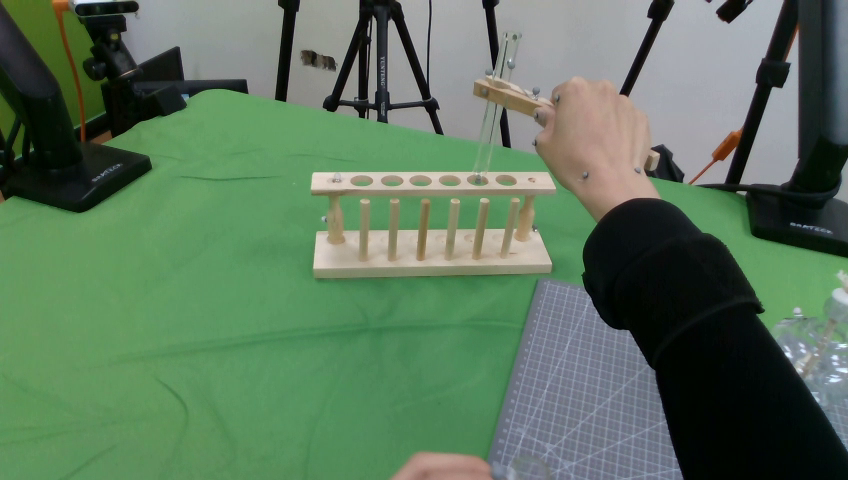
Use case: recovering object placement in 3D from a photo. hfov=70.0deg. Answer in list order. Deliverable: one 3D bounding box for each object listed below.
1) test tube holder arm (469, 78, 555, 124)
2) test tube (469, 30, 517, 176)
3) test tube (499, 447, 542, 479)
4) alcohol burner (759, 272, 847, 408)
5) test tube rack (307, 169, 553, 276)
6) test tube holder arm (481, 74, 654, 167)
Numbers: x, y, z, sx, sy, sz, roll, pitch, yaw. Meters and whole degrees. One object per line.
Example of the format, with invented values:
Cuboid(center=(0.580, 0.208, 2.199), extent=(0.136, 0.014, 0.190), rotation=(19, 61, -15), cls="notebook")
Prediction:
Cuboid(center=(0.076, -0.120, 0.521), extent=(0.087, 0.015, 0.010), rotation=(28, 48, 30), cls="test tube holder arm")
Cuboid(center=(0.060, -0.118, 0.552), extent=(0.017, 0.151, 0.017), rotation=(5, 45, -5), cls="test tube")
Cuboid(center=(0.031, 0.150, 0.275), extent=(0.017, 0.151, 0.017), rotation=(6, 30, -3), cls="test tube")
Cuboid(center=(0.317, 0.076, 0.484), extent=(0.078, 0.120, 0.077), rotation=(2, 34, -1), cls="alcohol burner")
Cuboid(center=(0.006, -0.019, 0.615), extent=(0.243, 0.086, 0.066), rotation=(-1, 36, -7), cls="test tube rack")
Cuboid(center=(0.111, -0.103, 0.500), extent=(0.013, 0.015, 0.176), rotation=(-31, 49, -30), cls="test tube holder arm")
